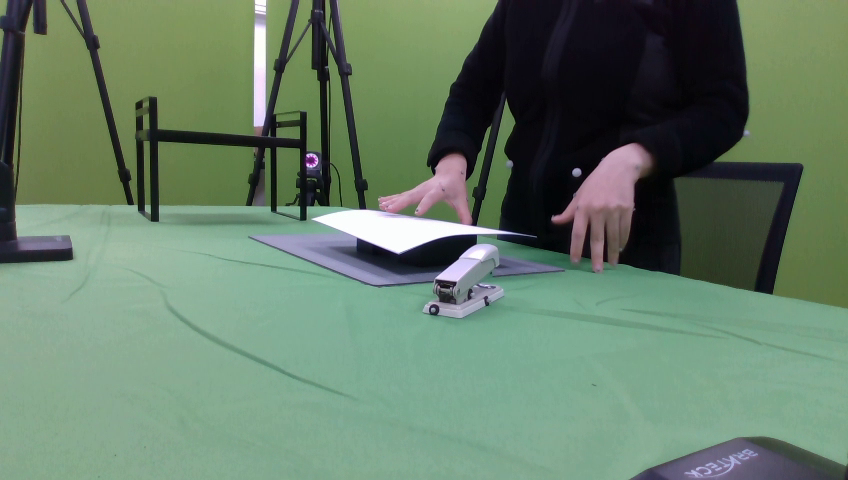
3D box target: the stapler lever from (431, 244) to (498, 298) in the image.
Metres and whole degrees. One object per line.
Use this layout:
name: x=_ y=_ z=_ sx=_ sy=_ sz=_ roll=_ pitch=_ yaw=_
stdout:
stapler lever: x=0.044 y=0.029 z=0.602 sx=0.026 sy=0.040 sz=0.118 roll=3 pitch=7 yaw=26

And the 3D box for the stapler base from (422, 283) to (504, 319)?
stapler base: x=0.043 y=0.053 z=0.606 sx=0.041 sy=0.024 sz=0.131 roll=3 pitch=8 yaw=26
